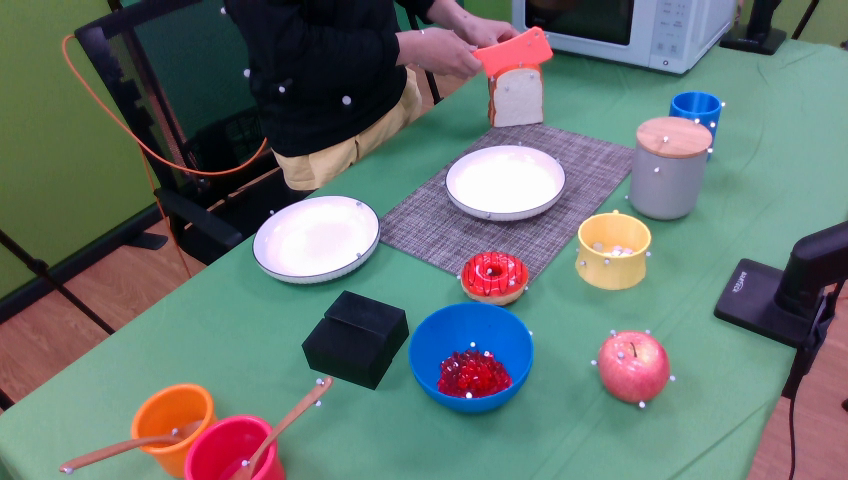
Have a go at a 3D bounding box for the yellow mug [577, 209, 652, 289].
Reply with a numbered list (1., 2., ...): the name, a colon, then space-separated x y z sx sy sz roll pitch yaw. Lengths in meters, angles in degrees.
1. yellow mug: 0.279 0.004 0.893 0.099 0.064 0.130 5 41 15

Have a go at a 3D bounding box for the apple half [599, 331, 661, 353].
1. apple half: 0.249 0.134 0.738 0.081 0.081 0.032 -2 46 7

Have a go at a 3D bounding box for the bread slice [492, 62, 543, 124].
1. bread slice: 0.183 -0.287 1.191 0.105 0.132 0.019 -6 46 4

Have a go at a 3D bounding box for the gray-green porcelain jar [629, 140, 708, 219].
1. gray-green porcelain jar: 0.383 -0.105 0.958 0.106 0.127 0.105 -4 41 4

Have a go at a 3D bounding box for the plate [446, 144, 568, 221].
1. plate: 0.142 -0.097 1.045 0.207 0.039 0.206 -4 40 4

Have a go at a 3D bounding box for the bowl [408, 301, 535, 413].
1. bowl: 0.060 0.156 0.739 0.151 0.077 0.150 -4 40 4

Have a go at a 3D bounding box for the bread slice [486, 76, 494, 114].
1. bread slice: 0.183 -0.319 1.231 0.107 0.135 0.018 -4 44 -1

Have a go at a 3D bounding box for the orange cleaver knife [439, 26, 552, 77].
1. orange cleaver knife: 0.135 -0.347 1.147 0.211 0.077 0.012 -12 39 10

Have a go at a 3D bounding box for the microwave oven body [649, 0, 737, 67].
1. microwave oven body: 0.475 -0.602 1.411 0.438 0.261 0.327 23 50 32

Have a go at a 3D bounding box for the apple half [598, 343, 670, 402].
1. apple half: 0.247 0.161 0.710 0.081 0.075 0.053 2 47 5

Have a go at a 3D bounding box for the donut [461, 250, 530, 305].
1. donut: 0.103 0.053 0.872 0.099 0.048 0.098 -5 40 4

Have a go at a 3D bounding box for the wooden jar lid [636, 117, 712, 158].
1. wooden jar lid: 0.377 -0.151 0.917 0.108 0.021 0.108 -2 41 3

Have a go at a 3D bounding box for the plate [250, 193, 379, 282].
1. plate: -0.174 -0.001 0.984 0.209 0.038 0.208 -4 40 4

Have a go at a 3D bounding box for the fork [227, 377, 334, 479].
1. fork: -0.162 0.216 0.647 0.207 0.019 0.028 -49 41 16

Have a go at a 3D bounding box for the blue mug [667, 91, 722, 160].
1. blue mug: 0.474 -0.207 1.079 0.082 0.106 0.116 4 42 13

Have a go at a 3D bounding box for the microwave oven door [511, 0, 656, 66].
1. microwave oven door: 0.351 -0.540 1.349 0.353 0.245 0.039 24 50 31

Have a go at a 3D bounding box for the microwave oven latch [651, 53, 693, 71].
1. microwave oven latch: 0.532 -0.386 1.301 0.078 0.029 0.030 26 52 34

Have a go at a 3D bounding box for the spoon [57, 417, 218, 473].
1. spoon: -0.304 0.221 0.661 0.041 0.195 0.021 19 92 27
